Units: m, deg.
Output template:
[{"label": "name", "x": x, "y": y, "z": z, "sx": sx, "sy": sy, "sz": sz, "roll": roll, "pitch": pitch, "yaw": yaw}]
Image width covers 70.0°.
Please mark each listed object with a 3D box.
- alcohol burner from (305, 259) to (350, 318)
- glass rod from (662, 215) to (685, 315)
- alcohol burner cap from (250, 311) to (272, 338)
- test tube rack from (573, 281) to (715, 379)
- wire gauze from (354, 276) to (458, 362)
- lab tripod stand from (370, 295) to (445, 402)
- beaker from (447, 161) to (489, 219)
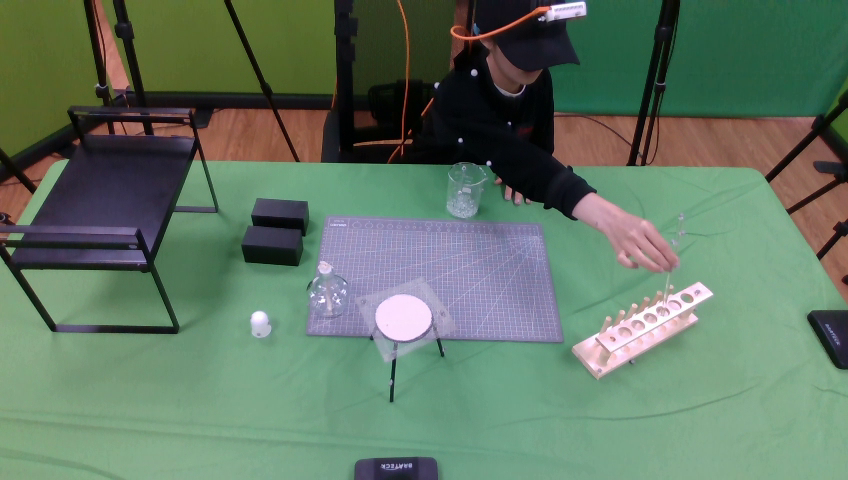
[{"label": "alcohol burner", "x": -0.166, "y": 0.078, "z": 1.040, "sx": 0.078, "sy": 0.120, "sz": 0.077, "roll": 1, "pitch": 44, "yaw": -1}, {"label": "glass rod", "x": 0.394, "y": 0.044, "z": 0.959, "sx": 0.008, "sy": 0.201, "sz": 0.008, "roll": -4, "pitch": 36, "yaw": 3}, {"label": "alcohol burner cap", "x": -0.278, "y": 0.141, "z": 1.026, "sx": 0.034, "sy": 0.048, "sz": 0.033, "roll": 1, "pitch": 46, "yaw": -1}, {"label": "test tube rack", "x": 0.378, "y": 0.140, "z": 1.038, "sx": 0.242, "sy": 0.085, "sz": 0.066, "roll": -22, "pitch": 51, "yaw": -22}, {"label": "wire gauze", "x": -0.029, "y": 0.113, "z": 0.912, "sx": 0.121, "sy": 0.011, "sz": 0.124, "roll": -18, "pitch": 49, "yaw": -19}, {"label": "lab tripod stand", "x": -0.036, "y": 0.160, "z": 0.959, "sx": 0.148, "sy": 0.132, "sz": 0.147, "roll": 1, "pitch": 46, "yaw": 0}, {"label": "beaker", "x": 0.087, "y": -0.099, "z": 1.244, "sx": 0.084, "sy": 0.101, "sz": 0.073, "roll": 5, "pitch": 46, "yaw": 1}]
